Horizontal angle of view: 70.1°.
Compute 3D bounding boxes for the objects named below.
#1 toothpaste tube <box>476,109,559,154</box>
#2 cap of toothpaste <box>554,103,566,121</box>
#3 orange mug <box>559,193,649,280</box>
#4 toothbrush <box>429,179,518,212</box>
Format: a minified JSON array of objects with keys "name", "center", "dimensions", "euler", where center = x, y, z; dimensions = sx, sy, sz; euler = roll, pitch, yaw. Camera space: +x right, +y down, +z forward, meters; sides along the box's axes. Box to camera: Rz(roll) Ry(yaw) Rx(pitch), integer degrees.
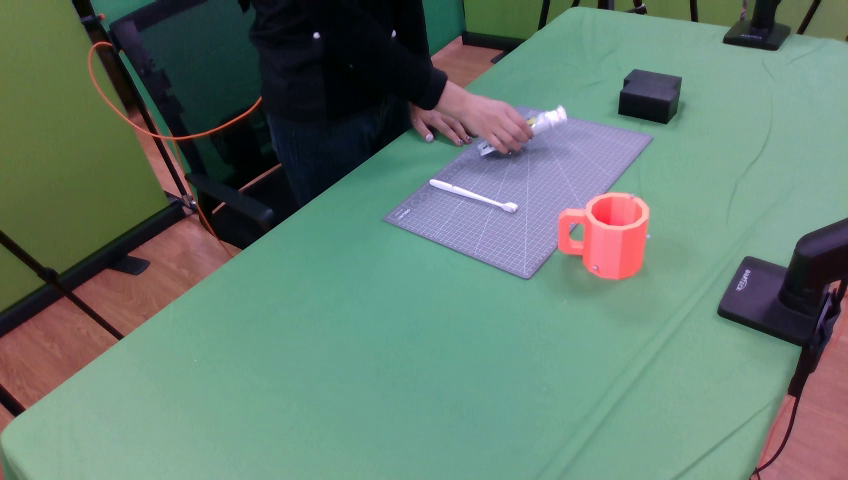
[{"name":"toothpaste tube","center":[0.179,-0.207,1.145],"dimensions":[0.165,0.035,0.055],"euler":[-23,26,6]},{"name":"cap of toothpaste","center":[0.253,-0.238,1.134],"dimensions":[0.011,0.037,0.037],"euler":[-24,42,-5]},{"name":"orange mug","center":[0.261,-0.008,0.884],"dimensions":[0.126,0.101,0.083],"euler":[9,43,14]},{"name":"toothbrush","center":[0.084,-0.081,1.063],"dimensions":[0.180,0.014,0.017],"euler":[20,45,30]}]
